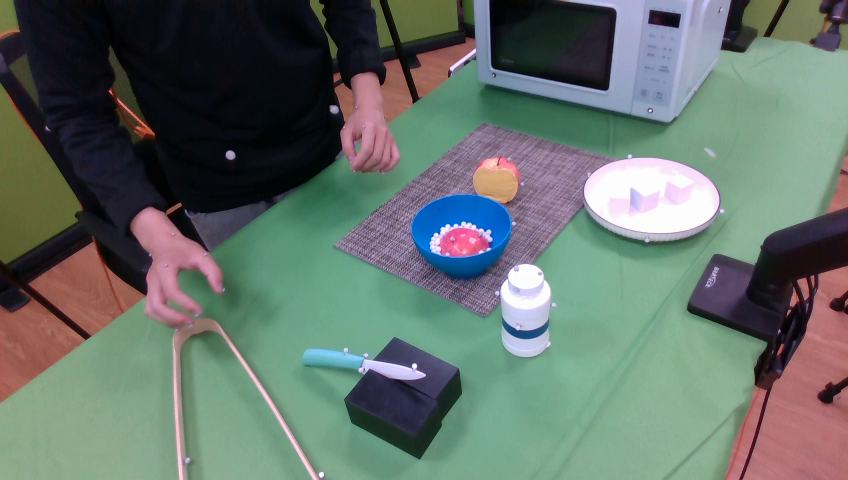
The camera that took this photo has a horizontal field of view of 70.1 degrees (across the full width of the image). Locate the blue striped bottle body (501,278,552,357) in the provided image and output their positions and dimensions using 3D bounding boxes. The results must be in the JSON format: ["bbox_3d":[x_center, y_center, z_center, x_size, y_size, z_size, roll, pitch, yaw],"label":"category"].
[{"bbox_3d":[0.130,0.089,0.769,0.063,0.121,0.063,-4,41,4],"label":"blue striped bottle body"}]

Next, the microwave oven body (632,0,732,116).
[{"bbox_3d":[0.377,-0.462,1.267,0.438,0.261,0.327,21,48,30],"label":"microwave oven body"}]

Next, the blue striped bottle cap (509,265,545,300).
[{"bbox_3d":[0.125,0.051,0.735,0.044,0.021,0.044,-6,38,5],"label":"blue striped bottle cap"}]

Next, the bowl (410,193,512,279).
[{"bbox_3d":[0.058,0.005,0.905,0.151,0.077,0.150,-4,40,4],"label":"bowl"}]

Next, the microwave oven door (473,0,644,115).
[{"bbox_3d":[0.257,-0.396,1.199,0.353,0.245,0.039,21,48,29],"label":"microwave oven door"}]

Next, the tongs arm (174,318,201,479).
[{"bbox_3d":[-0.272,0.234,0.723,0.051,0.026,0.381,-19,40,-14],"label":"tongs arm"}]

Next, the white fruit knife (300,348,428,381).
[{"bbox_3d":[-0.079,0.154,0.748,0.206,0.027,0.016,1,20,34],"label":"white fruit knife"}]

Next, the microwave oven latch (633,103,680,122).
[{"bbox_3d":[0.444,-0.249,1.157,0.078,0.029,0.030,21,49,30],"label":"microwave oven latch"}]

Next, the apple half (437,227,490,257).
[{"bbox_3d":[0.056,0.002,0.902,0.081,0.033,0.081,-3,41,3],"label":"apple half"}]

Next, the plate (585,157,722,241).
[{"bbox_3d":[0.367,-0.063,0.979,0.207,0.039,0.206,-4,40,4],"label":"plate"}]

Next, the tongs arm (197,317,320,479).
[{"bbox_3d":[-0.199,0.207,0.750,0.028,0.028,0.384,-31,45,-22],"label":"tongs arm"}]

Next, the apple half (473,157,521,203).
[{"bbox_3d":[0.128,-0.107,1.030,0.080,0.075,0.053,4,38,19],"label":"apple half"}]
